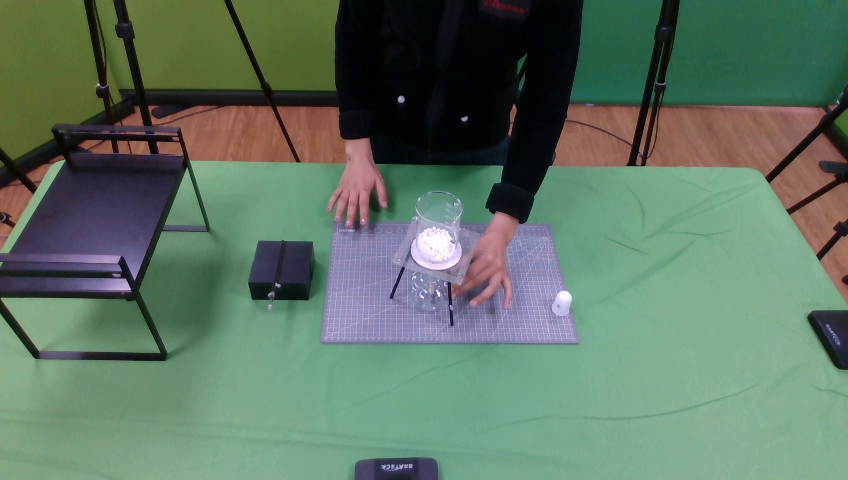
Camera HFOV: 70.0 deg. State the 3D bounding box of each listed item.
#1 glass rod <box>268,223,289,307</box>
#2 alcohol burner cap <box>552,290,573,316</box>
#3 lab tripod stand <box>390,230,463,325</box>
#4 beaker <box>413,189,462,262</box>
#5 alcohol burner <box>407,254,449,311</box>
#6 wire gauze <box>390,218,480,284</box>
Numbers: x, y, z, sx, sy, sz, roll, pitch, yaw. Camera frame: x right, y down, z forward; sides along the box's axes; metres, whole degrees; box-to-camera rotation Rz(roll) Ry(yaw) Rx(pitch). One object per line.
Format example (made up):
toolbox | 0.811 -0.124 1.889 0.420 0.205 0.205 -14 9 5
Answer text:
glass rod | -0.259 0.041 1.080 0.008 0.008 0.198 2 46 -2
alcohol burner cap | 0.250 0.110 1.088 0.034 0.048 0.033 3 46 -3
lab tripod stand | 0.014 0.060 1.056 0.148 0.132 0.147 1 48 -1
beaker | 0.022 -0.018 0.973 0.074 0.101 0.083 -19 51 -19
alcohol burner | 0.009 0.070 1.060 0.078 0.120 0.077 1 46 -1
wire gauze | 0.020 0.013 1.010 0.125 0.011 0.121 14 46 14
